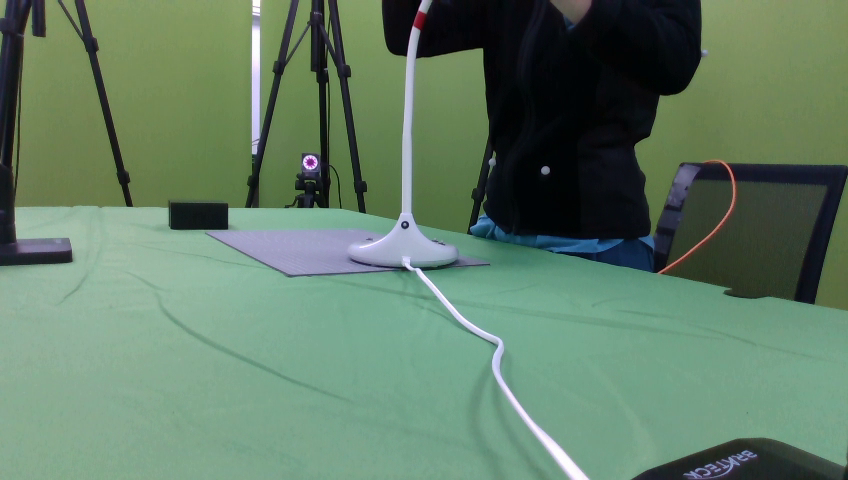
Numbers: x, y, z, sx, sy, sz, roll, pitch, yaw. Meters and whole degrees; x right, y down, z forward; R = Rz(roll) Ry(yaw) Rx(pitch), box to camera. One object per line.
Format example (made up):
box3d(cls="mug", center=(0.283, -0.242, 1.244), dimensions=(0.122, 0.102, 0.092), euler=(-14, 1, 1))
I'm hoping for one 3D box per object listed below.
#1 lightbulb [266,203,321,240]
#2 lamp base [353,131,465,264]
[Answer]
box3d(cls="lightbulb", center=(-0.224, -0.026, 1.032), dimensions=(0.059, 0.059, 0.108), euler=(8, 24, 37))
box3d(cls="lamp base", center=(-0.014, -0.062, 0.851), dimensions=(0.161, 0.180, 0.178), euler=(-1, 11, -20))
